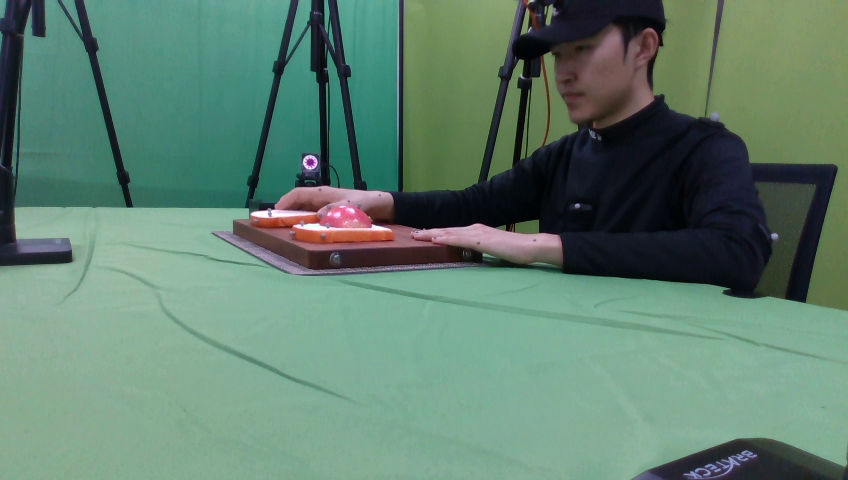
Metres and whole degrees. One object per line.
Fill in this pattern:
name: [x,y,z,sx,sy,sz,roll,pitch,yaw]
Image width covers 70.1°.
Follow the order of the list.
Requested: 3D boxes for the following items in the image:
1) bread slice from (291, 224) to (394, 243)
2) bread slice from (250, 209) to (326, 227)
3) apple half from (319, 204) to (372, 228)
bread slice: [-0.122,-0.011,0.869,0.132,0.019,0.104,-1,7,-32]
bread slice: [-0.222,-0.037,1.021,0.135,0.018,0.106,-5,10,-34]
apple half: [-0.112,-0.036,0.876,0.081,0.033,0.081,1,6,0]
